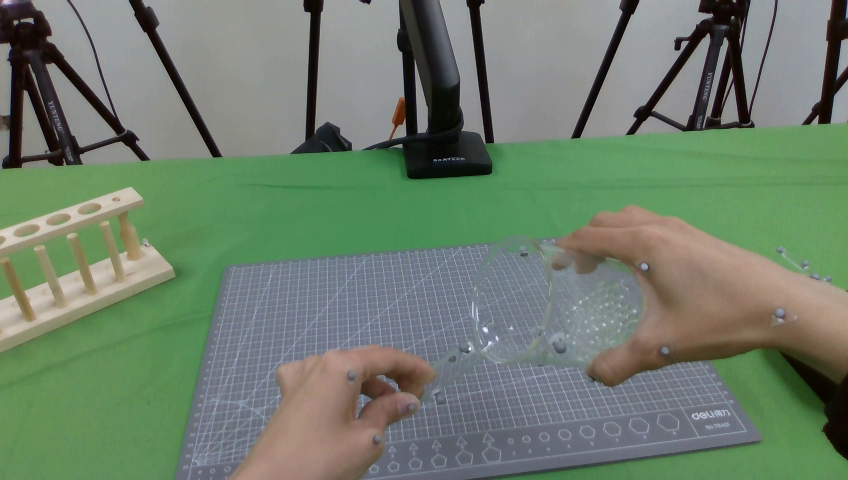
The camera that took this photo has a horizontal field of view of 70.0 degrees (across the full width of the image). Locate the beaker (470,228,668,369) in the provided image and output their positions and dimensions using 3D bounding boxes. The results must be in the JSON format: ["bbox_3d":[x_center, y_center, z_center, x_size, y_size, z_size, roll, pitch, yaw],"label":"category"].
[{"bbox_3d":[0.088,0.042,0.366,0.101,0.084,0.073,11,35,-28],"label":"beaker"}]

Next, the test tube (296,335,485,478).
[{"bbox_3d":[-0.024,0.107,0.381,0.150,0.017,0.017,-38,34,14],"label":"test tube"}]

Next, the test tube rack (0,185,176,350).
[{"bbox_3d":[-0.378,0.035,0.582,0.242,0.086,0.066,-27,43,-33],"label":"test tube rack"}]

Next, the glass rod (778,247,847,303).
[{"bbox_3d":[0.378,0.061,0.516,0.008,0.008,0.197,-10,36,-13],"label":"glass rod"}]
